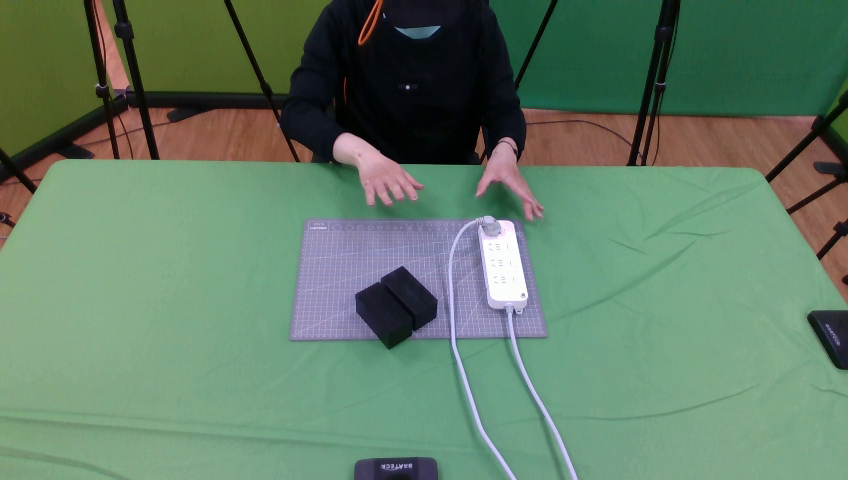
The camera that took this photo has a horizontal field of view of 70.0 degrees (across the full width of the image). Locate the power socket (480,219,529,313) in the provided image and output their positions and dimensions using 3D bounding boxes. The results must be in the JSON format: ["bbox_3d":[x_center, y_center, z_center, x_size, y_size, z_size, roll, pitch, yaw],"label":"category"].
[{"bbox_3d":[0.151,0.040,1.152,0.072,0.033,0.225,0,47,-3],"label":"power socket"}]

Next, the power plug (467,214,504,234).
[{"bbox_3d":[0.120,-0.030,1.185,0.072,0.053,0.035,8,47,5],"label":"power plug"}]
